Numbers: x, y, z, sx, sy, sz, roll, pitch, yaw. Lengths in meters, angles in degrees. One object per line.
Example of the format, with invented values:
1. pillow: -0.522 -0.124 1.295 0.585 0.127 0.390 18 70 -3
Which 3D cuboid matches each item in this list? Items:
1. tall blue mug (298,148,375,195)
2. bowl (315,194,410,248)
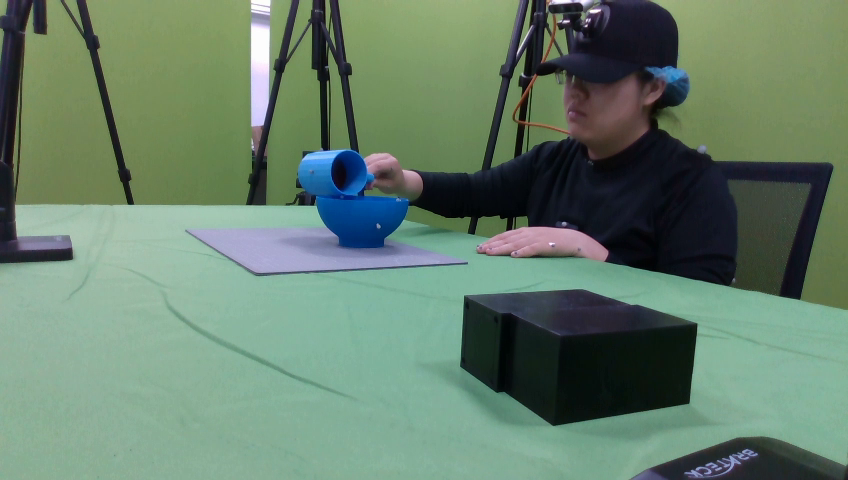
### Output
1. tall blue mug: -0.147 -0.122 1.051 0.107 0.078 0.107 -29 21 -35
2. bowl: -0.100 -0.030 0.971 0.151 0.077 0.151 2 7 0
